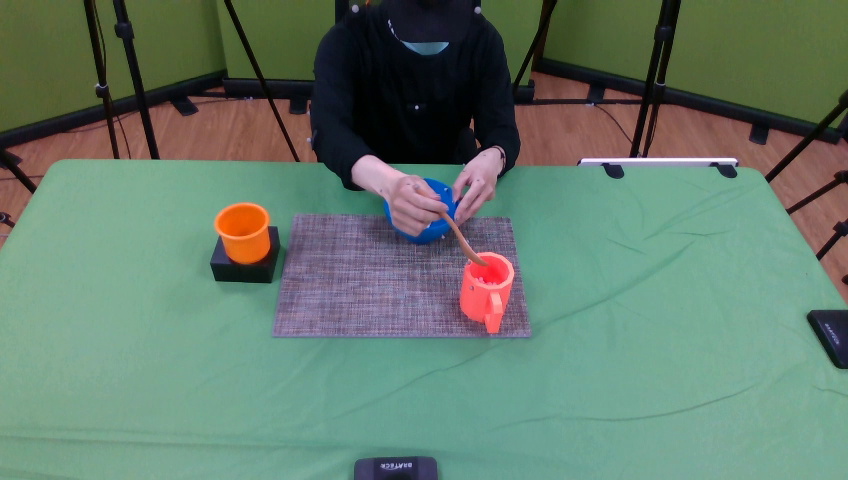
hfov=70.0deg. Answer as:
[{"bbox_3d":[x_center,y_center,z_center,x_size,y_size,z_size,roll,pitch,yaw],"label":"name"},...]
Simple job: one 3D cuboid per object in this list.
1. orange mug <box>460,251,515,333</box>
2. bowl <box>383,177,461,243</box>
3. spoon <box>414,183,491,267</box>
[{"bbox_3d":[0.114,0.095,1.053,0.083,0.101,0.125,-5,42,-8],"label":"orange mug"},{"bbox_3d":[-0.005,-0.047,1.197,0.151,0.077,0.150,2,46,-2],"label":"bowl"},{"bbox_3d":[0.047,-0.022,0.984,0.021,0.194,0.041,-44,21,-15],"label":"spoon"}]
